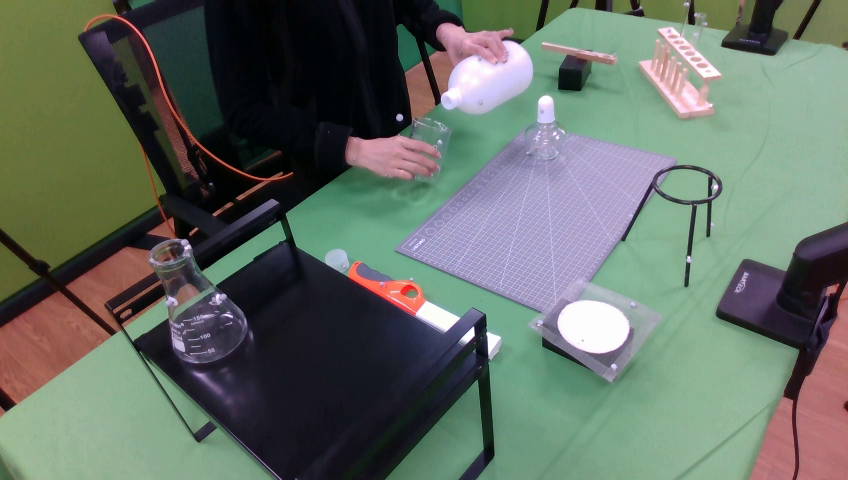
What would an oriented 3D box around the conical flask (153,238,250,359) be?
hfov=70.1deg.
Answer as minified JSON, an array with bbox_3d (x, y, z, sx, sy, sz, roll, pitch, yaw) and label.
[{"bbox_3d":[-0.225,0.055,0.597,0.075,0.122,0.075,-5,41,4],"label":"conical flask"}]

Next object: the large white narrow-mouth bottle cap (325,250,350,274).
[{"bbox_3d":[-0.138,0.035,0.966,0.038,0.024,0.037,-4,41,4],"label":"large white narrow-mouth bottle cap"}]

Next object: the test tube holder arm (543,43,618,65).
[{"bbox_3d":[0.344,-0.413,1.340,0.177,0.015,0.013,25,51,31],"label":"test tube holder arm"}]

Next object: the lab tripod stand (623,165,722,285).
[{"bbox_3d":[0.365,-0.030,0.874,0.148,0.132,0.147,-6,41,6],"label":"lab tripod stand"}]

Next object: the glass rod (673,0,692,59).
[{"bbox_3d":[0.537,-0.437,1.257,0.008,0.200,0.008,0,39,1],"label":"glass rod"}]

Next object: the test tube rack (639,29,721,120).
[{"bbox_3d":[0.527,-0.351,1.262,0.067,0.085,0.241,-8,40,1],"label":"test tube rack"}]

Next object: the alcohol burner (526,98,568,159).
[{"bbox_3d":[0.228,-0.210,1.118,0.078,0.119,0.077,-5,43,5],"label":"alcohol burner"}]

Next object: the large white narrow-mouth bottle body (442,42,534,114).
[{"bbox_3d":[0.109,-0.287,1.107,0.101,0.102,0.195,29,50,36],"label":"large white narrow-mouth bottle body"}]

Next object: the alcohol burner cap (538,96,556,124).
[{"bbox_3d":[0.222,-0.237,1.095,0.034,0.048,0.033,-7,35,5],"label":"alcohol burner cap"}]

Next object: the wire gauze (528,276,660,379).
[{"bbox_3d":[0.213,0.103,0.763,0.124,0.011,0.122,30,52,35],"label":"wire gauze"}]

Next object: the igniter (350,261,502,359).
[{"bbox_3d":[-0.009,0.094,0.870,0.274,0.025,0.057,25,61,33],"label":"igniter"}]

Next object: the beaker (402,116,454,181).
[{"bbox_3d":[0.007,-0.163,1.080,0.073,0.100,0.084,33,26,33],"label":"beaker"}]

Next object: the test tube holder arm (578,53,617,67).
[{"bbox_3d":[0.376,-0.393,1.314,0.087,0.015,0.010,26,51,32],"label":"test tube holder arm"}]

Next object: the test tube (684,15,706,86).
[{"bbox_3d":[0.541,-0.378,1.215,0.017,0.151,0.017,-2,44,3],"label":"test tube"}]
